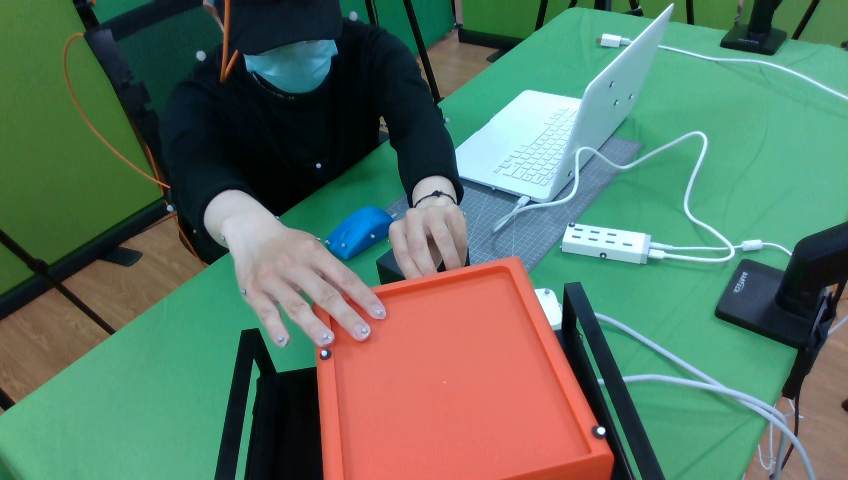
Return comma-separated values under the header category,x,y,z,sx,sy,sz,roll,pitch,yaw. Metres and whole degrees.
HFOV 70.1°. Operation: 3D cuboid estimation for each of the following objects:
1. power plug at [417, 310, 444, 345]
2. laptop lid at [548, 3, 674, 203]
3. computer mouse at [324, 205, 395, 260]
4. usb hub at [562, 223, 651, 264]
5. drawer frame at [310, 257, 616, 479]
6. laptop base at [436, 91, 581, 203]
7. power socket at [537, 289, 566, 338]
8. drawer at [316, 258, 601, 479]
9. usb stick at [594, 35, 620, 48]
category,x,y,z,sx,sy,sz,roll,pitch,yaw
power plug,0.007,0.123,0.785,0.035,0.053,0.072,0,39,8
laptop lid,0.320,-0.235,1.026,0.013,0.242,0.357,31,50,20
computer mouse,-0.107,-0.016,0.994,0.117,0.041,0.062,-36,51,-21
usb hub,0.279,0.005,0.925,0.124,0.025,0.049,10,43,19
drawer frame,0.018,0.124,0.500,0.202,0.083,0.212,-11,41,-6
laptop base,0.214,-0.193,1.172,0.233,0.023,0.355,19,46,32
power socket,0.081,0.111,0.822,0.227,0.033,0.072,-6,41,0
drawer,0.016,0.123,0.503,0.195,0.073,0.210,-10,41,-4
usb stick,0.443,-0.482,1.466,0.059,0.021,0.027,10,43,10
